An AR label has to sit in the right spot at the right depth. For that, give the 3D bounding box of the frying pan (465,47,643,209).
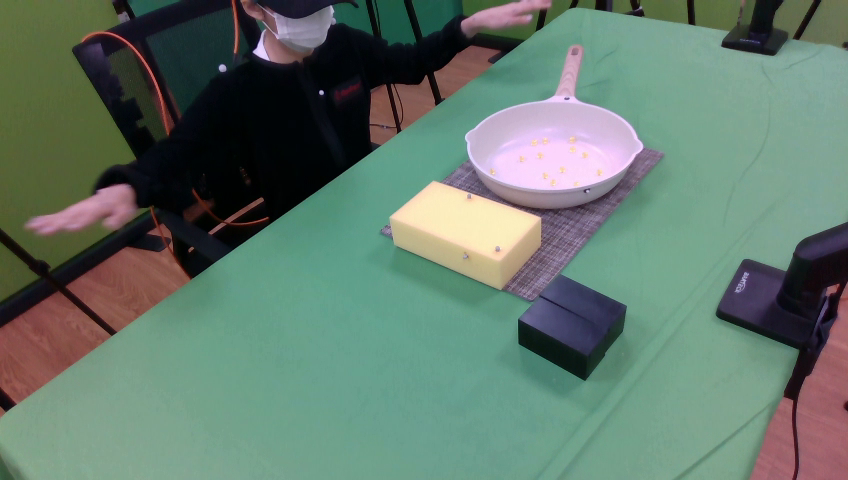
[{"bbox_3d":[0.255,-0.228,1.135,0.305,0.103,0.487,9,51,17],"label":"frying pan"}]

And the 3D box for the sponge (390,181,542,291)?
[{"bbox_3d":[0.065,-0.012,0.945,0.205,0.061,0.118,22,49,30],"label":"sponge"}]
